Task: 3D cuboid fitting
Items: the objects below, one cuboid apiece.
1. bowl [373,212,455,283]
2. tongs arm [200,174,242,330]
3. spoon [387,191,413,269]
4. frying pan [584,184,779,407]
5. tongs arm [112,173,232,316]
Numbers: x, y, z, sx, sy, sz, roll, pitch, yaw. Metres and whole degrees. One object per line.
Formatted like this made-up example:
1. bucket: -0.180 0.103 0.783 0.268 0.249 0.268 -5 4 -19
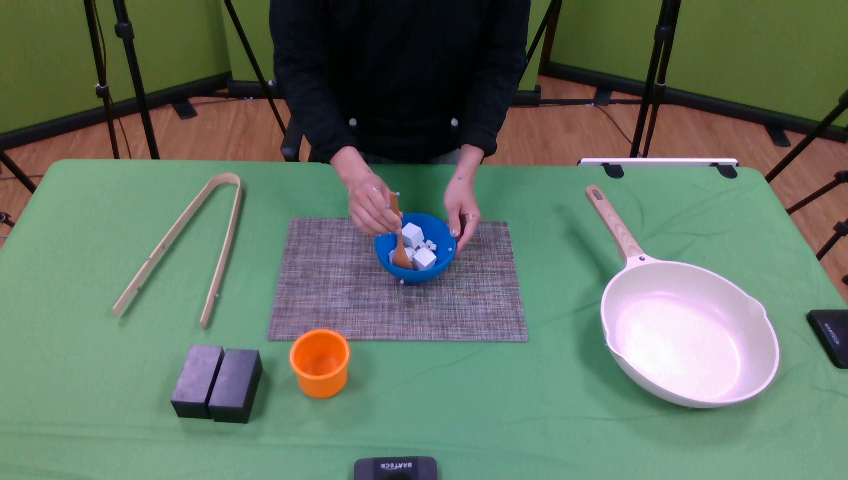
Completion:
1. bowl: -0.020 0.027 1.126 0.151 0.077 0.150 2 46 -2
2. tongs arm: -0.387 0.008 1.158 0.028 0.028 0.385 -1 46 -3
3. spoon: -0.045 -0.010 1.031 0.041 0.195 0.021 15 46 22
4. frying pan: 0.412 0.079 1.097 0.307 0.103 0.484 -10 56 -15
5. tongs arm: -0.467 -0.005 1.157 0.051 0.026 0.382 11 45 4
